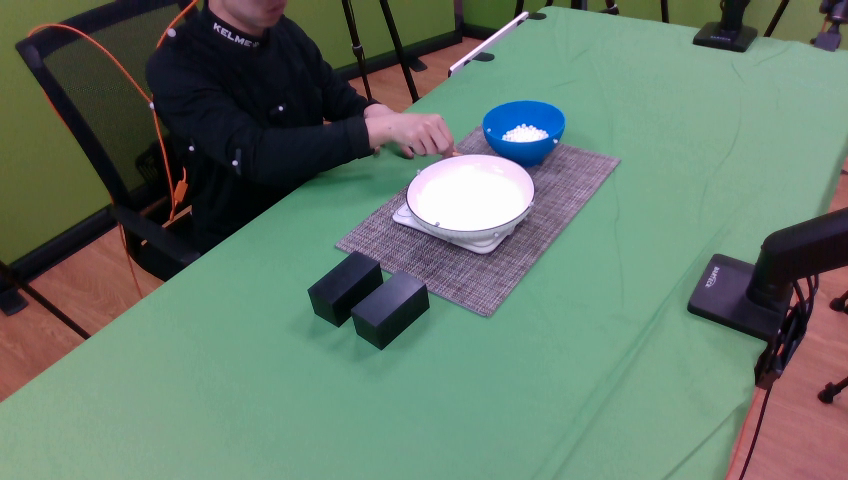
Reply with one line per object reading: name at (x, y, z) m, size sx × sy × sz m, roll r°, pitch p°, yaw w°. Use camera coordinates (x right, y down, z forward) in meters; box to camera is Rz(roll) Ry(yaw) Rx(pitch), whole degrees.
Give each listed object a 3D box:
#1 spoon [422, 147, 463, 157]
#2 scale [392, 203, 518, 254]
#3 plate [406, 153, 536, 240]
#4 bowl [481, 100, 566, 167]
spoon at (0.086, -0.141, 1.092) m, size 0.193 × 0.022 × 0.041 m, roll 22°, pitch 41°, yaw 12°
scale at (0.060, -0.050, 1.006) m, size 0.199 × 0.032 × 0.149 m, roll 22°, pitch 48°, yaw 30°
plate at (0.075, -0.067, 0.973) m, size 0.209 × 0.038 × 0.208 m, roll -4°, pitch 41°, yaw 4°
bowl at (0.183, -0.187, 1.111) m, size 0.151 × 0.077 × 0.150 m, roll -4°, pitch 41°, yaw 4°
